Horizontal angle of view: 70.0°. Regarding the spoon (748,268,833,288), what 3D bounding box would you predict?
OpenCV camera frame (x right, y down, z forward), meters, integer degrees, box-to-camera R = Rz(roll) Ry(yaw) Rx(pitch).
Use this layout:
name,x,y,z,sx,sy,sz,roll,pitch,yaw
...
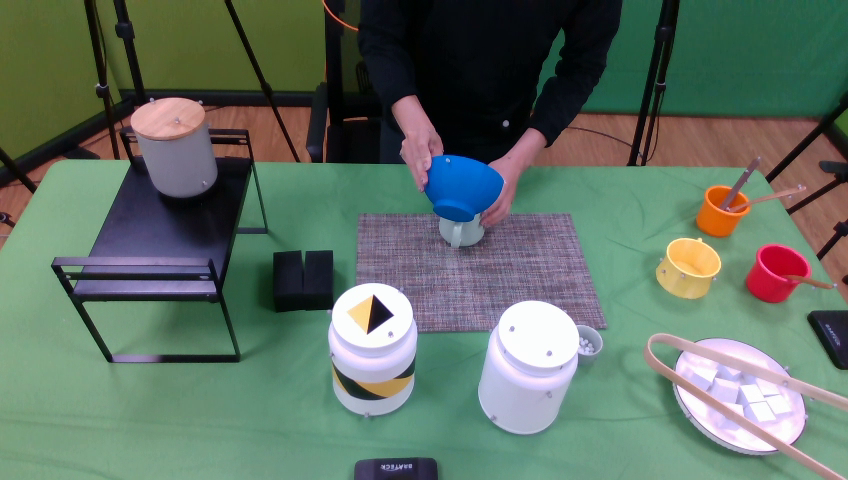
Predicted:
name,x,y,z,sx,sy,sz,roll,pitch,yaw
spoon,0.660,0.068,1.097,0.041,0.193,0.021,-4,91,-6

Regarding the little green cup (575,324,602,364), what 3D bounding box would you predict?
name,x,y,z,sx,sy,sz,roll,pitch,yaw
little green cup,0.269,0.179,1.035,0.061,0.039,0.061,2,45,-2

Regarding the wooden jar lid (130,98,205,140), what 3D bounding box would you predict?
name,x,y,z,sx,sy,sz,roll,pitch,yaw
wooden jar lid,-0.393,-0.183,0.934,0.108,0.021,0.107,3,43,-2

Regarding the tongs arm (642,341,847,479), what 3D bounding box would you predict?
name,x,y,z,sx,sy,sz,roll,pitch,yaw
tongs arm,0.504,0.278,0.918,0.386,0.028,0.028,34,59,22

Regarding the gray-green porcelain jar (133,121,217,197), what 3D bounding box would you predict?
name,x,y,z,sx,sy,sz,roll,pitch,yaw
gray-green porcelain jar,-0.397,-0.141,0.980,0.106,0.127,0.105,2,47,-2

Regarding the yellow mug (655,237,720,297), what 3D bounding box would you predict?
name,x,y,z,sx,sy,sz,roll,pitch,yaw
yellow mug,0.509,0.041,1.167,0.099,0.064,0.130,24,48,18

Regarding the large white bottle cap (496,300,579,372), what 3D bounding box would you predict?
name,x,y,z,sx,sy,sz,roll,pitch,yaw
large white bottle cap,0.160,0.133,0.853,0.115,0.018,0.114,3,46,-2

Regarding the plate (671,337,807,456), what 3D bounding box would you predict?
name,x,y,z,sx,sy,sz,roll,pitch,yaw
plate,0.503,0.254,0.984,0.208,0.039,0.206,2,46,-2

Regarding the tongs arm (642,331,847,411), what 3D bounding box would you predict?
name,x,y,z,sx,sy,sz,roll,pitch,yaw
tongs arm,0.546,0.227,0.968,0.384,0.026,0.050,22,52,13

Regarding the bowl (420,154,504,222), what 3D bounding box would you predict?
name,x,y,z,sx,sy,sz,roll,pitch,yaw
bowl,0.058,-0.082,1.064,0.151,0.152,0.076,12,73,7

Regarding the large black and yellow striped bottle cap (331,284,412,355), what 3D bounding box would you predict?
name,x,y,z,sx,sy,sz,roll,pitch,yaw
large black and yellow striped bottle cap,-0.073,0.110,0.858,0.115,0.019,0.114,2,46,-2

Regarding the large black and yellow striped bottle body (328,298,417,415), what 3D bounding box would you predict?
name,x,y,z,sx,sy,sz,roll,pitch,yaw
large black and yellow striped bottle body,-0.078,0.167,0.920,0.131,0.185,0.130,2,46,-2

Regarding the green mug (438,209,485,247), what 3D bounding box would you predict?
name,x,y,z,sx,sy,sz,roll,pitch,yaw
green mug,0.072,-0.039,1.178,0.092,0.105,0.124,12,47,7

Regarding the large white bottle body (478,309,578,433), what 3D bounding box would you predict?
name,x,y,z,sx,sy,sz,roll,pitch,yaw
large white bottle body,0.156,0.192,0.913,0.131,0.185,0.130,2,46,-2

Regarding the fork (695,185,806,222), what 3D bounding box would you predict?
name,x,y,z,sx,sy,sz,roll,pitch,yaw
fork,0.658,-0.074,1.230,0.207,0.019,0.028,-23,36,37

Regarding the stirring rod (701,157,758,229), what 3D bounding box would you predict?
name,x,y,z,sx,sy,sz,roll,pitch,yaw
stirring rod,0.634,-0.096,1.257,0.014,0.006,0.176,38,97,30
